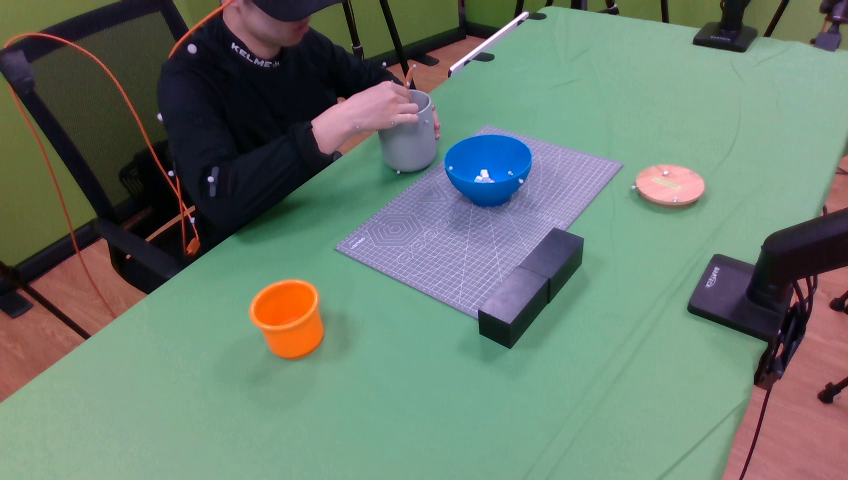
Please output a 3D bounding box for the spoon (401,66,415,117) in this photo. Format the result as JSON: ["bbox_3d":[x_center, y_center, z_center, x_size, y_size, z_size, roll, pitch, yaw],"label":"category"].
[{"bbox_3d":[-0.035,-0.227,1.105,0.042,0.194,0.021,-28,50,-33],"label":"spoon"}]

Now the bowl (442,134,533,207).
[{"bbox_3d":[0.110,-0.109,1.033,0.151,0.077,0.150,-4,40,4],"label":"bowl"}]

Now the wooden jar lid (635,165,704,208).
[{"bbox_3d":[0.411,-0.089,1.014,0.108,0.021,0.108,-5,41,5],"label":"wooden jar lid"}]

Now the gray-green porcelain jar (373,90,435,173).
[{"bbox_3d":[-0.034,-0.198,1.125,0.106,0.127,0.105,-4,41,4],"label":"gray-green porcelain jar"}]
